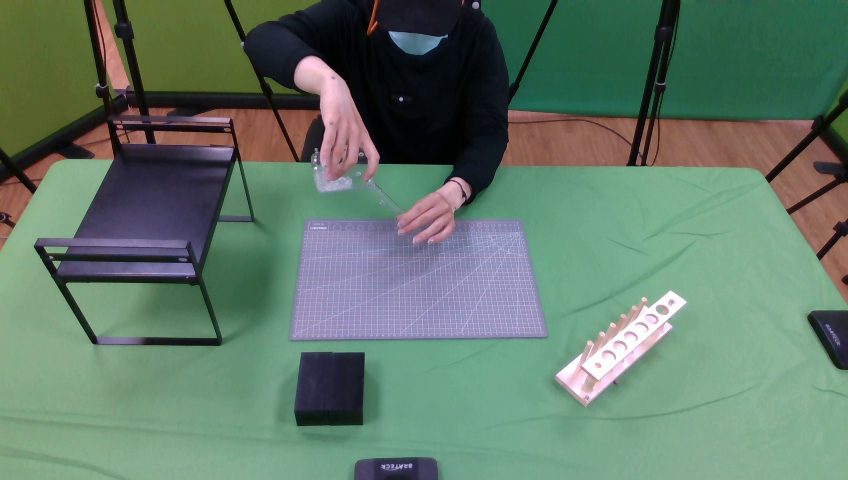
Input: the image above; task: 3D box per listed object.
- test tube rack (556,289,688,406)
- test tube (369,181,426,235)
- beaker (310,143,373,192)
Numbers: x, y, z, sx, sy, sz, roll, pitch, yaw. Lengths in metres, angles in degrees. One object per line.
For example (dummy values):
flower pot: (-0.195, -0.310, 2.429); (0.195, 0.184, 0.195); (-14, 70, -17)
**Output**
test tube rack: (0.332, 0.166, 1.014); (0.242, 0.085, 0.066); (-30, 55, -28)
test tube: (-0.047, -0.055, 1.110); (0.017, 0.151, 0.017); (-31, 34, 25)
beaker: (-0.141, -0.121, 1.043); (0.100, 0.084, 0.073); (-8, 43, -4)
